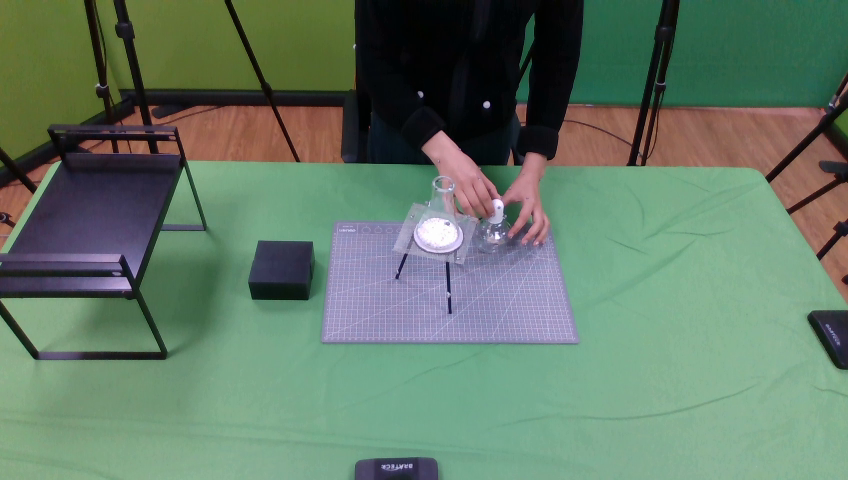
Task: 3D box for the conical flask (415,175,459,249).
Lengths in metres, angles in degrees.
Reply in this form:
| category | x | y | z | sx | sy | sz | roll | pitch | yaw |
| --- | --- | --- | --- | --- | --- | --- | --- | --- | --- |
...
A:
| category | x | y | z | sx | sy | sz | roll | pitch | yaw |
| --- | --- | --- | --- | --- | --- | --- | --- | --- | --- |
| conical flask | 0.026 | -0.049 | 0.993 | 0.075 | 0.122 | 0.075 | 3 | 47 | -3 |

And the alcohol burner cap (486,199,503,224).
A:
| category | x | y | z | sx | sy | sz | roll | pitch | yaw |
| --- | --- | --- | --- | --- | --- | --- | --- | --- | --- |
| alcohol burner cap | 0.135 | -0.057 | 1.146 | 0.034 | 0.048 | 0.033 | 2 | 46 | -2 |

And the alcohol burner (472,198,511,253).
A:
| category | x | y | z | sx | sy | sz | roll | pitch | yaw |
| --- | --- | --- | --- | --- | --- | --- | --- | --- | --- |
| alcohol burner | 0.133 | -0.032 | 1.174 | 0.078 | 0.119 | 0.077 | 3 | 43 | -2 |

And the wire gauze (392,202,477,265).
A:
| category | x | y | z | sx | sy | sz | roll | pitch | yaw |
| --- | --- | --- | --- | --- | --- | --- | --- | --- | --- |
| wire gauze | 0.021 | -0.011 | 1.037 | 0.121 | 0.011 | 0.124 | 13 | 49 | 8 |

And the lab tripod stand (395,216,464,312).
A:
| category | x | y | z | sx | sy | sz | roll | pitch | yaw |
| --- | --- | --- | --- | --- | --- | --- | --- | --- | --- |
| lab tripod stand | 0.023 | 0.037 | 1.084 | 0.148 | 0.132 | 0.147 | 4 | 47 | -4 |
